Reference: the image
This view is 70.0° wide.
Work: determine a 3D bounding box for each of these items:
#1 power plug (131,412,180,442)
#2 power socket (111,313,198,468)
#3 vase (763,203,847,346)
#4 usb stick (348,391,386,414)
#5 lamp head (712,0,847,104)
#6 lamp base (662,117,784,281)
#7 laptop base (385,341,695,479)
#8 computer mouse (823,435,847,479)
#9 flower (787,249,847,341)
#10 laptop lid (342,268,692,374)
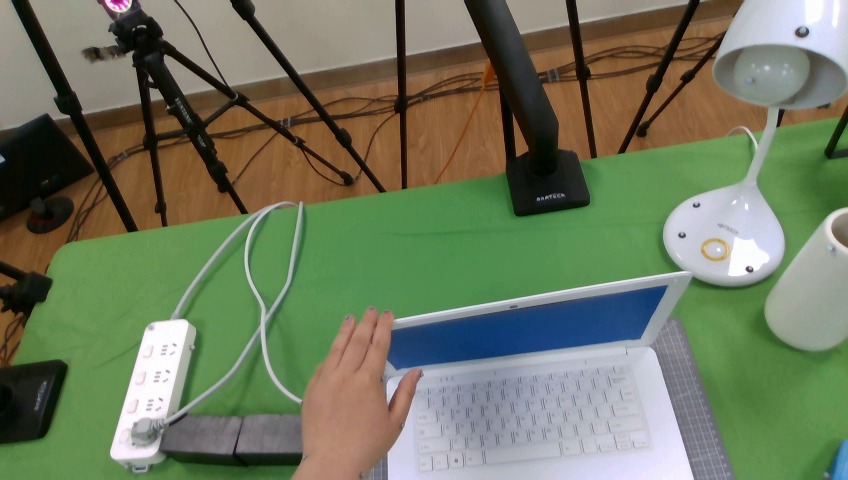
[{"bbox_3d":[-0.350,0.249,0.796,0.072,0.053,0.035,5,54,12],"label":"power plug"},{"bbox_3d":[-0.378,0.204,0.860,0.072,0.033,0.224,-5,53,6],"label":"power socket"},{"bbox_3d":[0.469,0.043,0.707,0.098,0.202,0.097,-6,52,9],"label":"vase"},{"bbox_3d":[-0.067,0.211,0.787,0.059,0.027,0.021,-4,52,3],"label":"usb stick"},{"bbox_3d":[0.334,-0.198,0.546,0.112,0.113,0.122,18,77,23],"label":"lamp head"},{"bbox_3d":[0.418,-0.065,0.809,0.159,0.182,0.178,21,58,24],"label":"lamp base"},{"bbox_3d":[0.129,0.251,0.736,0.354,0.023,0.233,-8,56,5],"label":"laptop base"},{"bbox_3d":[0.466,0.264,0.648,0.062,0.041,0.117,29,60,31],"label":"computer mouse"},{"bbox_3d":[0.471,-0.014,0.645,0.038,0.364,0.043,-10,42,-18],"label":"flower"},{"bbox_3d":[0.104,0.102,0.698,0.356,0.244,0.013,-10,63,6],"label":"laptop lid"}]
